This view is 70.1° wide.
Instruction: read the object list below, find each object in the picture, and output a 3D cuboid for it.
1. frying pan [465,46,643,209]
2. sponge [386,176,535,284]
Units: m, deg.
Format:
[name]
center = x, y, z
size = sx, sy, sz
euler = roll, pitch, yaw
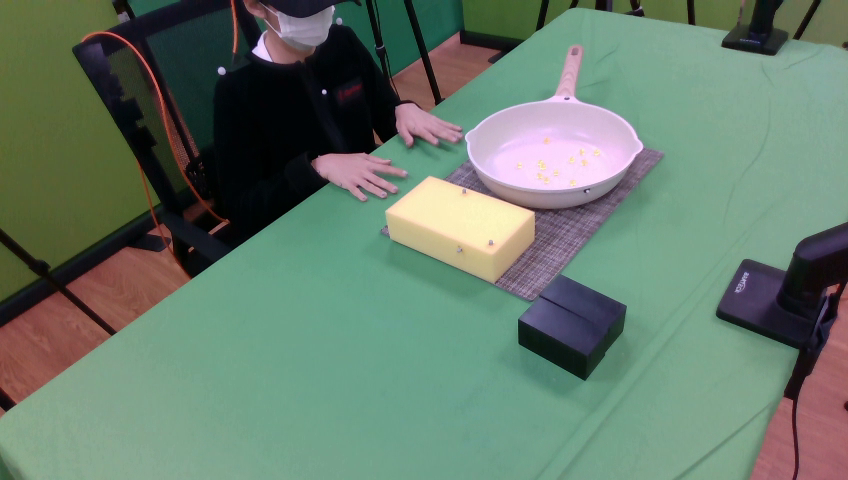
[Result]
[frying pan]
center = 0.255, -0.228, 1.135
size = 0.305, 0.103, 0.487
euler = 9, 51, 17
[sponge]
center = 0.057, -0.022, 0.957
size = 0.205, 0.061, 0.118
euler = 22, 49, 31
